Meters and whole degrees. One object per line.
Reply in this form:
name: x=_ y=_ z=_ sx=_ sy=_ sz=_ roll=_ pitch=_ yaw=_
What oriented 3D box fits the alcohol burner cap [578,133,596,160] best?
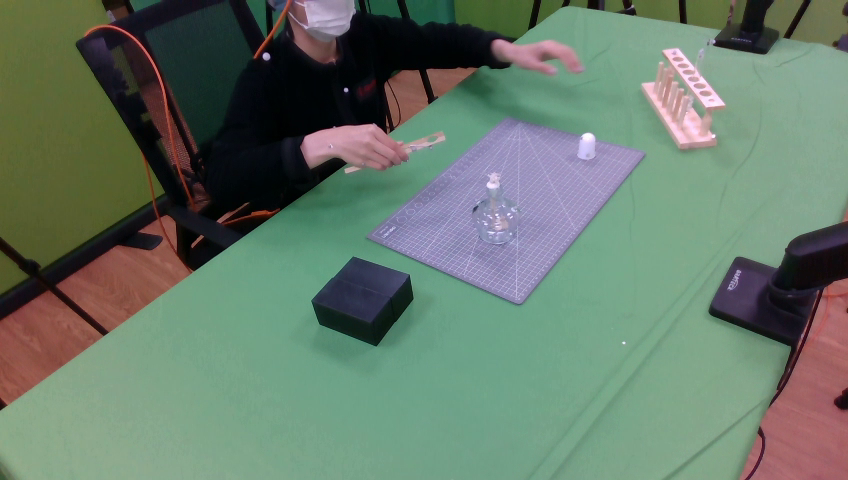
alcohol burner cap: x=0.301 y=-0.174 z=1.111 sx=0.034 sy=0.048 sz=0.033 roll=-4 pitch=41 yaw=4

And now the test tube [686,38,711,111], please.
test tube: x=0.508 y=-0.305 z=1.128 sx=0.017 sy=0.151 sz=0.017 roll=-2 pitch=46 yaw=3

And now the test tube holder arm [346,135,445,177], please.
test tube holder arm: x=-0.048 y=-0.143 z=1.021 sx=0.178 sy=0.013 sz=0.015 roll=-23 pitch=-1 yaw=0

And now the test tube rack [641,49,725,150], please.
test tube rack: x=0.495 y=-0.279 z=1.175 sx=0.067 sy=0.085 sz=0.241 roll=-5 pitch=41 yaw=3

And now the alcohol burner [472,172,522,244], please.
alcohol burner: x=0.112 y=-0.053 z=0.942 sx=0.078 sy=0.119 sz=0.077 roll=-6 pitch=40 yaw=5

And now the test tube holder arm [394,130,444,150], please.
test tube holder arm: x=-0.008 y=-0.165 z=1.020 sx=0.088 sy=0.010 sz=0.015 roll=-21 pitch=-1 yaw=0
